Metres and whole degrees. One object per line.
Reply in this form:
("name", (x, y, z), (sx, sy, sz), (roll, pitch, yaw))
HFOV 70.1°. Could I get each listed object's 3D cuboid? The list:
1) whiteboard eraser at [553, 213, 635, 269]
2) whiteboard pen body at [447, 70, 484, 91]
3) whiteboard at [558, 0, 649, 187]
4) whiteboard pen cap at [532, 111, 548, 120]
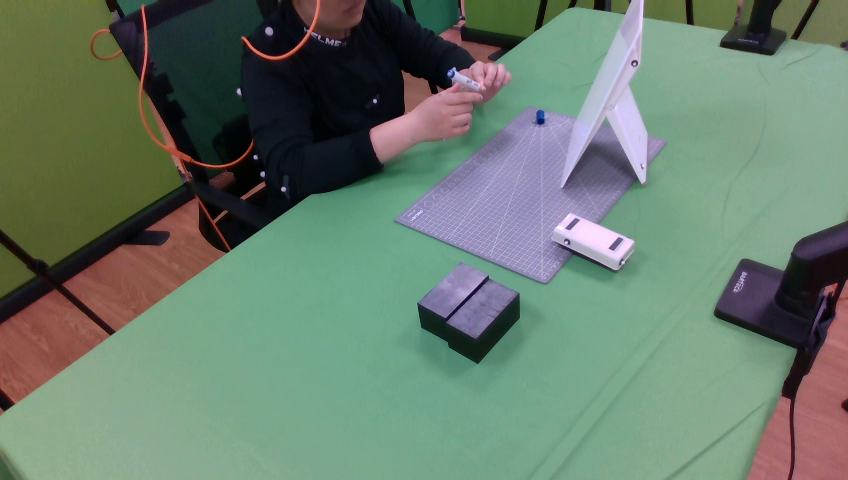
("whiteboard eraser", (0.257, 0.003, 0.918), (0.112, 0.042, 0.056), (27, 49, 30))
("whiteboard pen body", (0.079, -0.288, 1.104), (0.017, 0.017, 0.142), (19, 10, 28))
("whiteboard", (0.361, -0.238, 1.026), (0.144, 0.306, 0.217), (21, 45, 3))
("whiteboard pen cap", (0.238, -0.255, 1.238), (0.018, 0.018, 0.033), (-28, 27, -22))
